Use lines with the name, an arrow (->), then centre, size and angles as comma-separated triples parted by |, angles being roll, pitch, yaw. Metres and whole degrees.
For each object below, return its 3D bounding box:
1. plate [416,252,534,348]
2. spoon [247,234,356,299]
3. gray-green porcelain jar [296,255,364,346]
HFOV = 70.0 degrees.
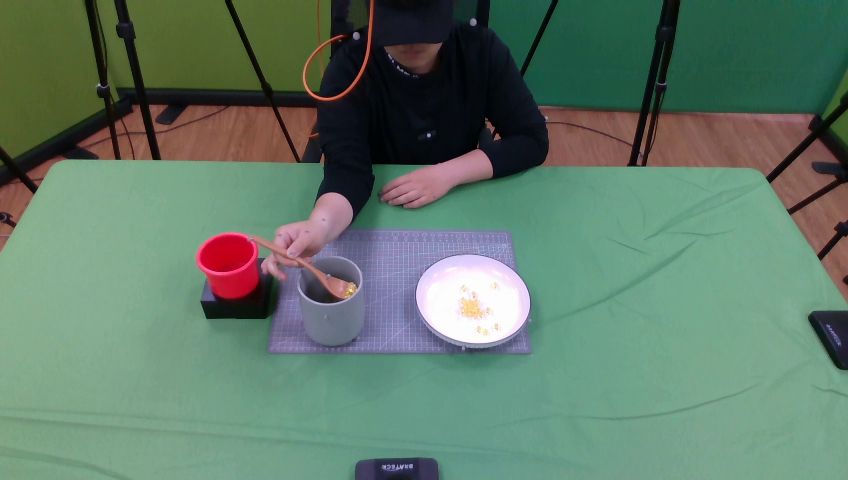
plate -> 0.090, 0.109, 1.084 | 0.208, 0.039, 0.206 | 2, 46, -2
spoon -> -0.190, 0.040, 0.955 | 0.194, 0.021, 0.041 | 35, 36, -18
gray-green porcelain jar -> -0.153, 0.106, 1.008 | 0.106, 0.127, 0.105 | 2, 46, -2
